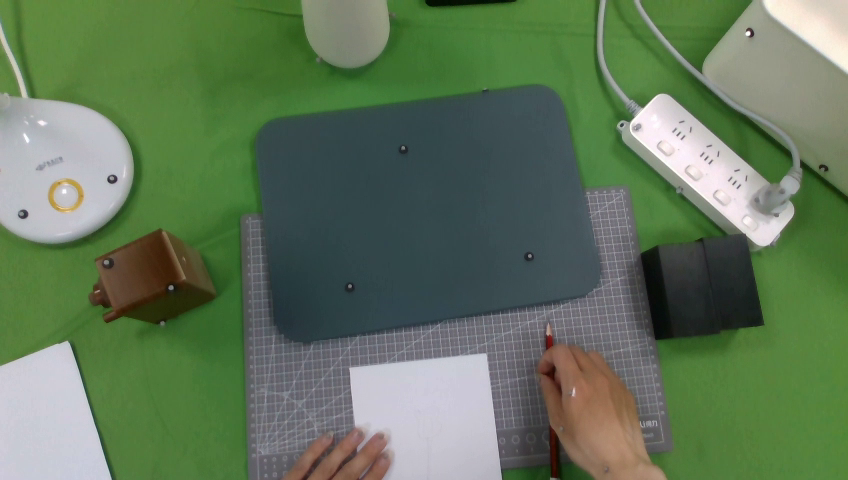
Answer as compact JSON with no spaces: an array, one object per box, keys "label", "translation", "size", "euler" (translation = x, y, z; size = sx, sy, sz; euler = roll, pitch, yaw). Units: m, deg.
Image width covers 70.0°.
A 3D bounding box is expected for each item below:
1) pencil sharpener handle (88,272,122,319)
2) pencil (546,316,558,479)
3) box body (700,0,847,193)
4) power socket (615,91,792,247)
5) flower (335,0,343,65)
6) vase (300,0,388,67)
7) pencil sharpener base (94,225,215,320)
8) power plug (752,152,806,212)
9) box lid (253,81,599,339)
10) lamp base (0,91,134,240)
[{"label":"pencil sharpener handle","translation":[-0.314,0.059,0.593],"size":[0.030,0.068,0.035],"euler":[-26,68,-8]},{"label":"pencil","translation":[0.137,0.179,0.654],"size":[0.012,0.012,0.193],"euler":[2,77,-2]},{"label":"box body","translation":[0.536,-0.198,0.680],"size":[0.363,0.161,0.254],"euler":[40,79,6]},{"label":"power socket","translation":[0.329,-0.084,0.711],"size":[0.226,0.033,0.072],"euler":[44,79,7]},{"label":"flower","translation":[-0.075,-0.302,0.565],"size":[0.044,0.364,0.038],"euler":[-31,69,-25]},{"label":"vase","translation":[-0.087,-0.269,0.642],"size":[0.098,0.200,0.097],"euler":[1,76,-4]},{"label":"pencil sharpener base","translation":[-0.270,0.037,0.613],"size":[0.077,0.107,0.061],"euler":[-26,80,-8]},{"label":"power plug","translation":[0.404,-0.060,0.686],"size":[0.072,0.053,0.035],"euler":[-34,79,-14]},{"label":"box lid","translation":[0.003,-0.041,0.694],"size":[0.372,0.015,0.262],"euler":[-9,78,-5]},{"label":"lamp base","translation":[-0.409,-0.105,0.598],"size":[0.160,0.181,0.178],"euler":[-36,79,-10]}]
